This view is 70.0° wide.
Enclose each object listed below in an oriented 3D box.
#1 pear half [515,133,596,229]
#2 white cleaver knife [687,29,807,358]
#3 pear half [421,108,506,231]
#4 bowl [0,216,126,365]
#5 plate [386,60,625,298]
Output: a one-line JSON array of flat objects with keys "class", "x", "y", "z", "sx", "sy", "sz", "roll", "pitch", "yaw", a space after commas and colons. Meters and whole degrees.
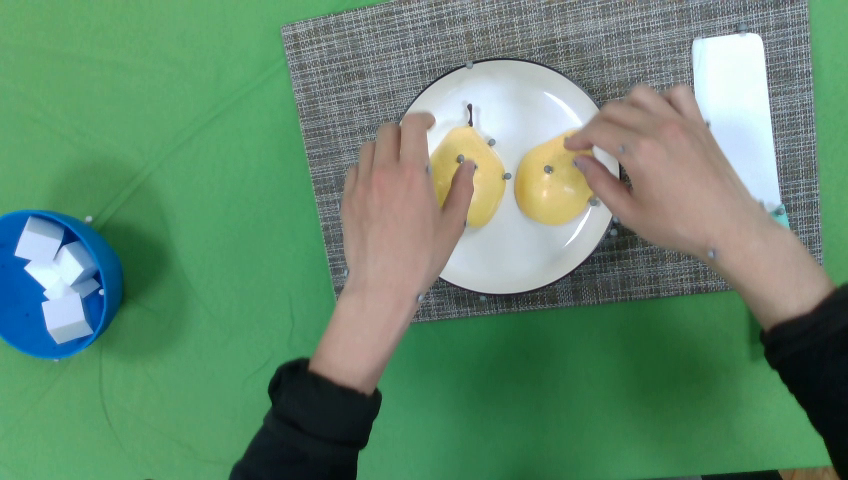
[{"class": "pear half", "x": 0.118, "y": -0.051, "z": 0.532, "sx": 0.070, "sy": 0.031, "sz": 0.088, "roll": 23, "pitch": 109, "yaw": 1}, {"class": "white cleaver knife", "x": 0.279, "y": -0.036, "z": 0.525, "sx": 0.065, "sy": 0.021, "sz": 0.286, "roll": -10, "pitch": 95, "yaw": 22}, {"class": "pear half", "x": 0.035, "y": -0.062, "z": 0.535, "sx": 0.076, "sy": 0.056, "sz": 0.110, "roll": 1, "pitch": 97, "yaw": 5}, {"class": "bowl", "x": -0.365, "y": 0.044, "z": 0.623, "sx": 0.151, "sy": 0.077, "sz": 0.152, "roll": 2, "pitch": 101, "yaw": 10}, {"class": "plate", "x": 0.071, "y": -0.053, "z": 0.545, "sx": 0.207, "sy": 0.039, "sz": 0.208, "roll": 2, "pitch": 101, "yaw": 10}]
